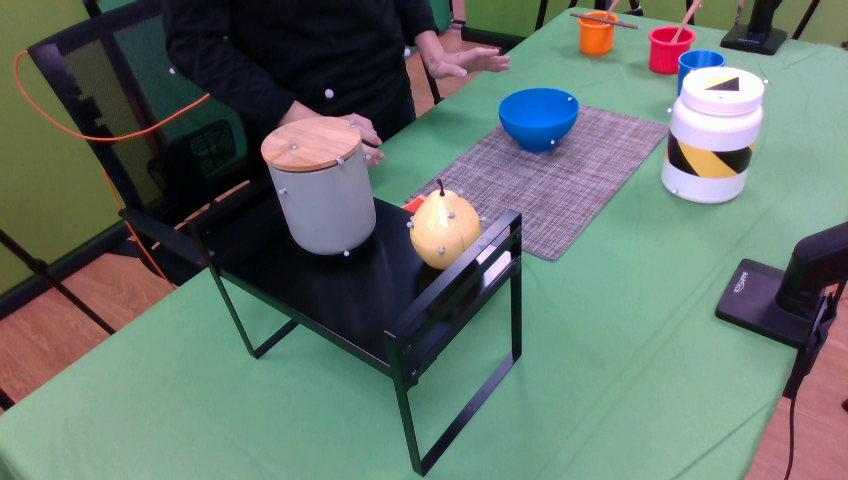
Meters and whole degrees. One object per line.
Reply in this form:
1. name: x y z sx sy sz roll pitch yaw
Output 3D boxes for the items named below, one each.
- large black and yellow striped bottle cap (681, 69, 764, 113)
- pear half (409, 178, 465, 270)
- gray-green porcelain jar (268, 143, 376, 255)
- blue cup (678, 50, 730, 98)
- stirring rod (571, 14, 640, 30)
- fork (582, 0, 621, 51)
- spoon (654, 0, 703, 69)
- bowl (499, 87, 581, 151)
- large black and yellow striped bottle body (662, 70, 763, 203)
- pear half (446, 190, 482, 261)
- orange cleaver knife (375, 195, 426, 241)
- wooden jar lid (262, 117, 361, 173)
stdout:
1. large black and yellow striped bottle cap: 0.453 -0.229 0.921 0.115 0.019 0.114 -4 39 4
2. pear half: 0.010 -0.019 0.654 0.056 0.110 0.076 -17 37 -9
3. gray-green porcelain jar: -0.114 -0.055 0.704 0.106 0.127 0.105 -4 40 4
4. blue cup: 0.542 -0.310 1.194 0.092 0.101 0.092 -6 41 6
5. stirring rod: 0.419 -0.508 1.404 0.174 0.006 0.014 28 55 35
6. fork: 0.445 -0.539 1.438 0.207 0.019 0.028 -57 36 12
7. spoon: 0.569 -0.462 1.335 0.041 0.022 0.193 34 99 37
8. bowl: 0.220 -0.223 1.156 0.151 0.077 0.150 -5 40 4
9. large black and yellow striped bottle body: 0.464 -0.166 0.976 0.131 0.185 0.130 -5 41 5
10. pear half: 0.046 -0.020 0.665 0.031 0.088 0.070 -17 38 -8
11. orange cleaver knife: -0.037 -0.029 0.973 0.210 0.077 0.012 -8 33 50
12. wooden jar lid: -0.122 -0.101 0.663 0.108 0.021 0.108 -3 39 3
